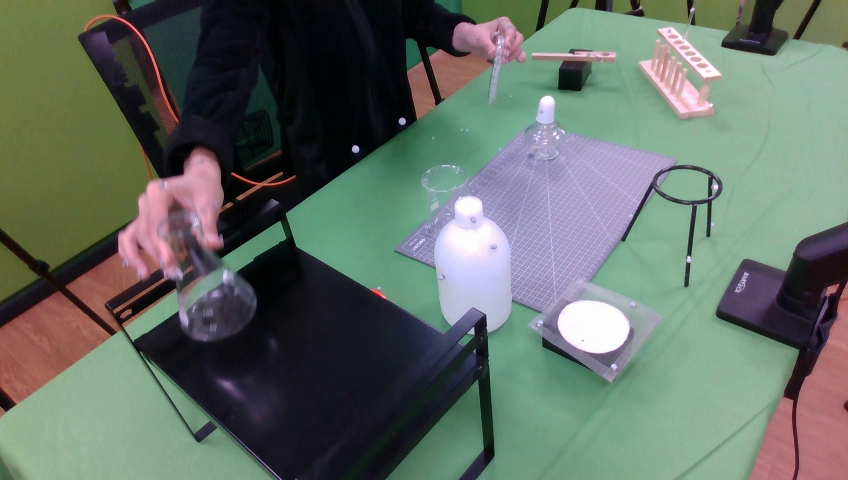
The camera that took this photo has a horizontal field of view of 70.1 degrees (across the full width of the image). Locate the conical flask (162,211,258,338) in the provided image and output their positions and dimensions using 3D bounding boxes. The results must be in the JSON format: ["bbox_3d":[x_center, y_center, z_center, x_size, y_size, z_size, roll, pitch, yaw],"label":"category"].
[{"bbox_3d":[-0.214,0.030,0.587,0.075,0.122,0.075,-5,39,4],"label":"conical flask"}]

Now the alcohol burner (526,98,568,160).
[{"bbox_3d":[0.228,-0.210,1.118,0.078,0.119,0.077,-5,43,5],"label":"alcohol burner"}]

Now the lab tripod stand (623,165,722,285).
[{"bbox_3d":[0.365,-0.030,0.874,0.148,0.132,0.147,-6,41,6],"label":"lab tripod stand"}]

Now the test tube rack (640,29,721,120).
[{"bbox_3d":[0.527,-0.351,1.262,0.067,0.085,0.241,-8,40,1],"label":"test tube rack"}]

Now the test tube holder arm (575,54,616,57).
[{"bbox_3d":[0.373,-0.398,1.318,0.087,0.015,0.010,5,51,15],"label":"test tube holder arm"}]

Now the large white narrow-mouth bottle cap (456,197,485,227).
[{"bbox_3d":[0.057,-0.036,0.750,0.038,0.024,0.037,-4,40,4],"label":"large white narrow-mouth bottle cap"}]

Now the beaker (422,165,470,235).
[{"bbox_3d":[0.041,-0.063,0.986,0.073,0.101,0.084,20,47,29],"label":"beaker"}]

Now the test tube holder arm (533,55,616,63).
[{"bbox_3d":[0.329,-0.398,1.327,0.178,0.015,0.013,5,51,15],"label":"test tube holder arm"}]

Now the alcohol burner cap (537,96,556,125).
[{"bbox_3d":[0.223,-0.237,1.095,0.034,0.048,0.033,0,42,1],"label":"alcohol burner cap"}]

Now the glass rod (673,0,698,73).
[{"bbox_3d":[0.537,-0.425,1.244,0.008,0.200,0.008,0,48,0],"label":"glass rod"}]

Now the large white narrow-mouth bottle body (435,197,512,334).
[{"bbox_3d":[0.066,0.028,0.805,0.102,0.195,0.101,-4,40,4],"label":"large white narrow-mouth bottle body"}]

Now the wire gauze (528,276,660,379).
[{"bbox_3d":[0.214,0.103,0.763,0.124,0.011,0.122,30,52,35],"label":"wire gauze"}]

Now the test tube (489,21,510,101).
[{"bbox_3d":[0.128,-0.304,1.040,0.017,0.150,0.017,2,48,-2],"label":"test tube"}]

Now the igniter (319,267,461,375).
[{"bbox_3d":[-0.060,0.108,0.862,0.274,0.025,0.057,29,62,34],"label":"igniter"}]
